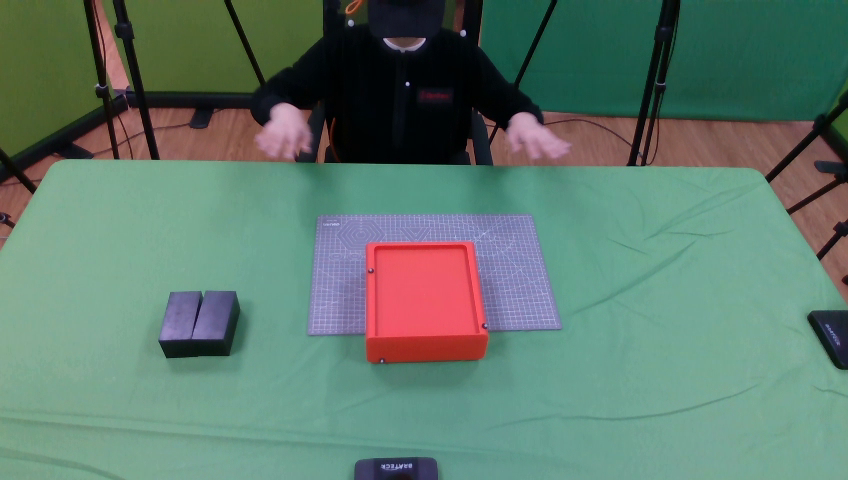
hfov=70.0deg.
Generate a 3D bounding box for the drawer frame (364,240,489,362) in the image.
[{"bbox_3d":[-0.002,0.101,1.054,0.202,0.083,0.212,-1,47,-5],"label":"drawer frame"}]

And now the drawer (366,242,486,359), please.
[{"bbox_3d":[-0.002,0.101,1.056,0.195,0.073,0.210,0,47,-5],"label":"drawer"}]

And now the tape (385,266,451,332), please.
[{"bbox_3d":[-0.010,0.103,1.062,0.117,0.053,0.116,2,46,-2],"label":"tape"}]
